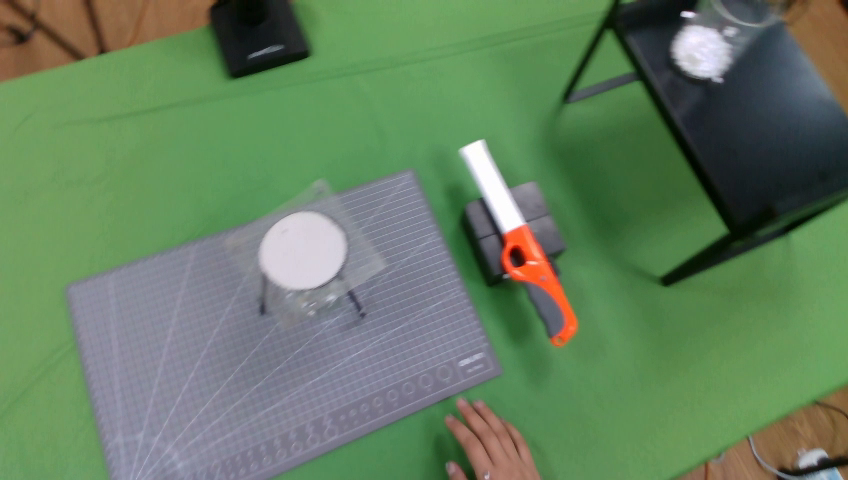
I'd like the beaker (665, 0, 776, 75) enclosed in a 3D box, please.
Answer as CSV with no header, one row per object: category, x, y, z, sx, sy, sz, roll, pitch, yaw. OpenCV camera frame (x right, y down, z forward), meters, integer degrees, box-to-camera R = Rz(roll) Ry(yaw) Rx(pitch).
beaker,0.313,-0.236,0.658,0.084,0.101,0.074,30,70,6

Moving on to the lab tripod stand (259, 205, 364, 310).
lab tripod stand,-0.132,0.023,0.693,0.148,0.132,0.147,1,69,-3

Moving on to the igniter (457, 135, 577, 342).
igniter,0.112,-0.007,0.738,0.057,0.025,0.274,-25,74,-2

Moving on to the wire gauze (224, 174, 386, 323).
wire gauze,-0.124,0.007,0.628,0.125,0.011,0.121,-34,77,-15

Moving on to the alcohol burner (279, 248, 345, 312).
alcohol burner,-0.130,0.041,0.697,0.078,0.119,0.077,2,72,-5

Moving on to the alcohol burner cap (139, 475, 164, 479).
alcohol burner cap,-0.294,0.267,0.640,0.034,0.048,0.033,2,70,-5
